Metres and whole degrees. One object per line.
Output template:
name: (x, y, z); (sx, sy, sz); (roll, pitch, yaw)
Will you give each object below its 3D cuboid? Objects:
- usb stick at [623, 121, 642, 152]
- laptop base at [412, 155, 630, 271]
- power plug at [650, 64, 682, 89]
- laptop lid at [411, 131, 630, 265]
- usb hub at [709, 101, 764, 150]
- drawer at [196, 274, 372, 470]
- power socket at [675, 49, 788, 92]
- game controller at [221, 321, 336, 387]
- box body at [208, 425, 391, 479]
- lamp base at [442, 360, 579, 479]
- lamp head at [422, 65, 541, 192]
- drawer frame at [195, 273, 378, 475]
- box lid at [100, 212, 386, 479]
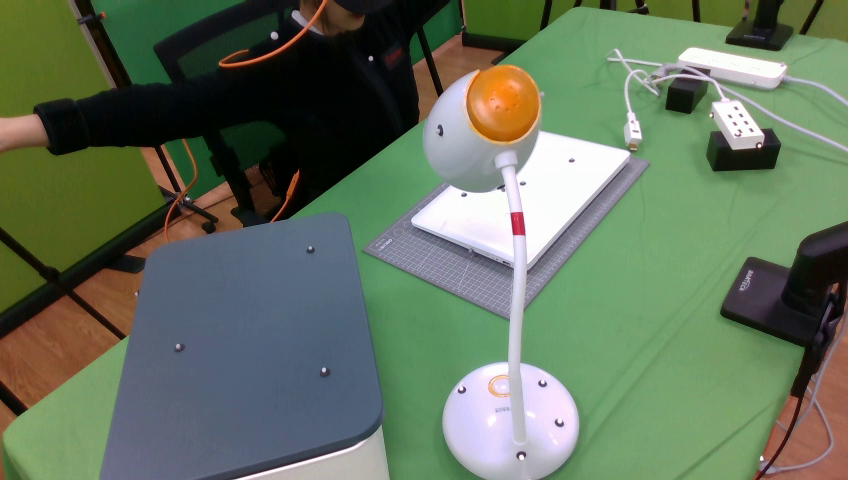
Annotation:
usb stick: (0.389, -0.192, 1.128); (0.021, 0.027, 0.059); (9, 61, -10)
laptop base: (0.176, -0.084, 1.056); (0.233, 0.023, 0.355); (20, 48, 36)
power plug: (0.498, -0.341, 1.263); (0.035, 0.052, 0.072); (20, 10, -7)
laptop lid: (0.172, -0.094, 1.050); (0.239, 0.013, 0.358); (23, 49, 36)
usb hub: (0.534, -0.199, 1.040); (0.049, 0.025, 0.124); (-5, 39, 8)
drawer: (-0.184, 0.159, 0.773); (0.195, 0.073, 0.210); (-17, 40, -7)
power socket: (0.647, -0.363, 1.284); (0.225, 0.033, 0.072); (26, 53, 35)
game controller: (-0.196, 0.145, 0.812); (0.155, 0.051, 0.096); (-18, 11, -10)
box body: (-0.190, 0.161, 0.723); (0.255, 0.161, 0.361); (-13, 40, -5)
lamp base: (0.094, 0.158, 0.657); (0.161, 0.181, 0.178); (-13, 42, -5)
lamp head: (0.060, -0.106, 0.560); (0.113, 0.112, 0.122); (-16, 0, -8)
drawer frame: (-0.180, 0.159, 0.772); (0.202, 0.083, 0.212); (-17, 42, -8)
box lid: (-0.195, 0.094, 0.680); (0.264, 0.015, 0.368); (-12, 39, -6)
